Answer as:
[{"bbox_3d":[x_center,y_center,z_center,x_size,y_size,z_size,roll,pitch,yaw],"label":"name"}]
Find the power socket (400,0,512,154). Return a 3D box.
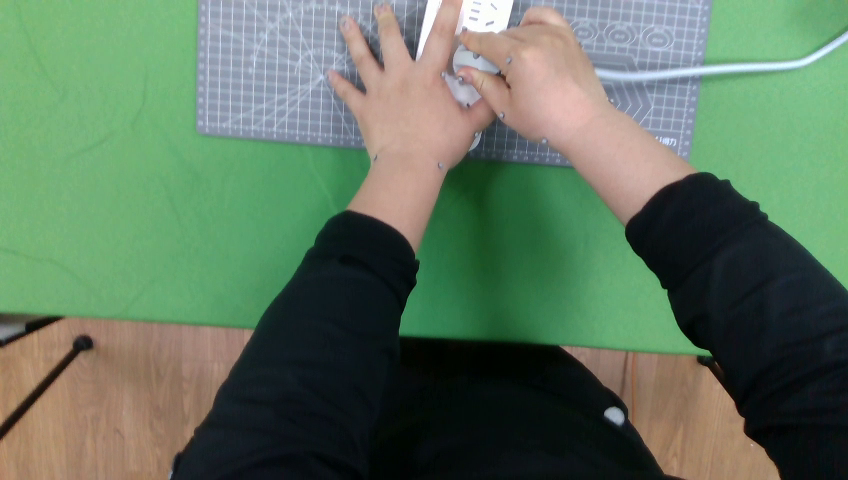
[{"bbox_3d":[0.035,-0.187,0.520,0.072,0.032,0.227,13,100,-4],"label":"power socket"}]

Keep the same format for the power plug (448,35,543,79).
[{"bbox_3d":[0.055,-0.145,0.504,0.073,0.052,0.035,22,102,-7],"label":"power plug"}]
